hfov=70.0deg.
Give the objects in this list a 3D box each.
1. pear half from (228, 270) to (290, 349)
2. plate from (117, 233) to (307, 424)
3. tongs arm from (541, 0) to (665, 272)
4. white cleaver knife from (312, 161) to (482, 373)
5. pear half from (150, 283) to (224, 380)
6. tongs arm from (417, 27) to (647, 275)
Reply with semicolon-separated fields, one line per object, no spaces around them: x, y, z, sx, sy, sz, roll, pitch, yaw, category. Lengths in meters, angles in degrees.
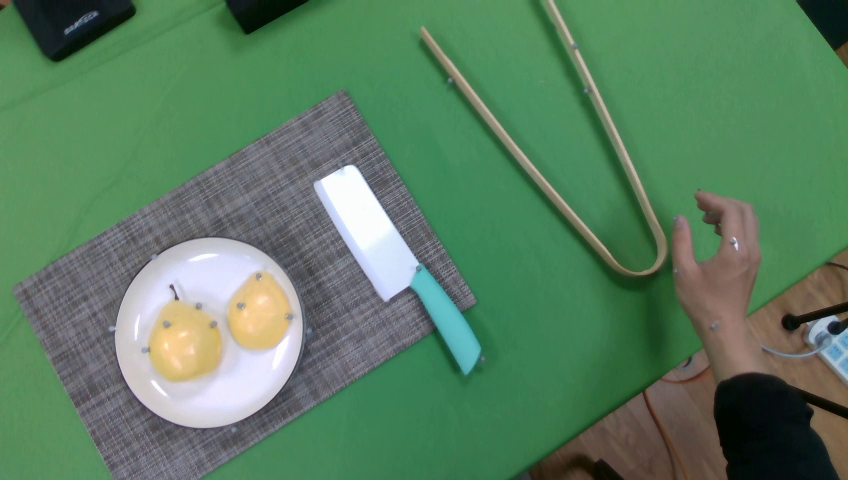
-0.186;0.078;0.673;0.070;0.031;0.088;1;89;-3;pear half
-0.231;0.097;0.676;0.208;0.039;0.207;0;84;1;plate
0.187;-0.145;0.703;0.051;0.026;0.384;-26;85;0;tongs arm
-0.032;0.032;0.695;0.066;0.021;0.285;-37;81;6;white cleaver knife
-0.266;0.098;0.663;0.076;0.056;0.109;-22;80;-6;pear half
0.117;-0.103;0.705;0.028;0.028;0.386;-39;84;-5;tongs arm
